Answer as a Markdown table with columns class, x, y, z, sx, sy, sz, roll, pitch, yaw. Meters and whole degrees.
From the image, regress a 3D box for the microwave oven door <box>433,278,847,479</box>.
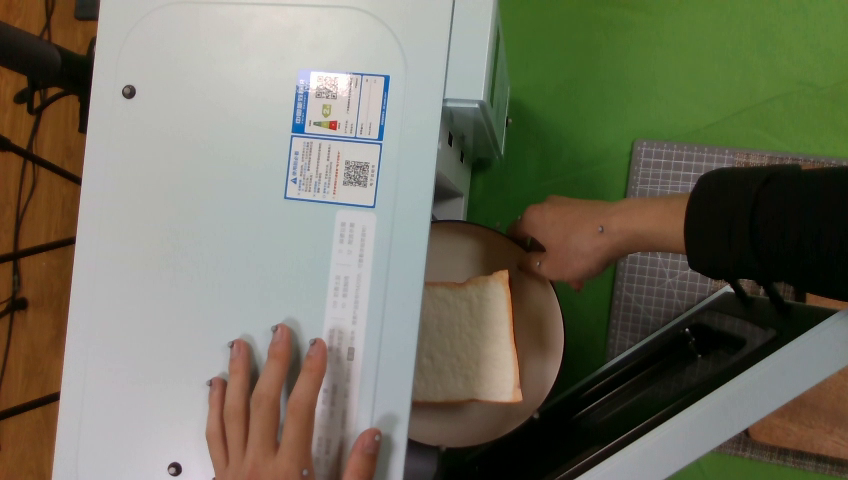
| class | x | y | z | sx | sy | sz | roll | pitch | yaw |
| --- | --- | --- | --- | --- | --- | --- | --- | --- | --- |
| microwave oven door | 0.144 | 0.152 | 0.502 | 0.356 | 0.244 | 0.039 | -37 | 83 | 8 |

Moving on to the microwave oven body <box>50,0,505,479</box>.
| class | x | y | z | sx | sy | sz | roll | pitch | yaw |
| --- | --- | --- | --- | --- | --- | --- | --- | --- | --- |
| microwave oven body | -0.112 | 0.027 | 0.552 | 0.325 | 0.260 | 0.441 | 6 | 91 | 9 |

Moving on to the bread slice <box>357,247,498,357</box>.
| class | x | y | z | sx | sy | sz | roll | pitch | yaw |
| --- | --- | --- | --- | --- | --- | --- | --- | --- | --- |
| bread slice | 0.001 | 0.060 | 0.588 | 0.132 | 0.019 | 0.105 | 6 | 102 | -5 |

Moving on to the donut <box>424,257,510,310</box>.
| class | x | y | z | sx | sy | sz | roll | pitch | yaw |
| --- | --- | --- | --- | --- | --- | --- | --- | --- | --- |
| donut | 0.028 | 0.061 | 0.546 | 0.099 | 0.048 | 0.099 | 0 | 111 | 1 |

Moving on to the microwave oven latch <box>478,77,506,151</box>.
| class | x | y | z | sx | sy | sz | roll | pitch | yaw |
| --- | --- | --- | --- | --- | --- | --- | --- | --- | --- |
| microwave oven latch | 0.068 | -0.132 | 0.620 | 0.030 | 0.029 | 0.079 | 5 | 91 | 10 |

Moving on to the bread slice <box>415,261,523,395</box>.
| class | x | y | z | sx | sy | sz | roll | pitch | yaw |
| --- | --- | --- | --- | --- | --- | --- | --- | --- | --- |
| bread slice | 0.011 | 0.080 | 0.504 | 0.134 | 0.018 | 0.107 | -12 | 94 | 21 |

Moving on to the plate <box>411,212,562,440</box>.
| class | x | y | z | sx | sy | sz | roll | pitch | yaw |
| --- | --- | --- | --- | --- | --- | --- | --- | --- | --- |
| plate | 0.022 | 0.078 | 0.565 | 0.207 | 0.039 | 0.207 | 0 | 91 | 8 |
